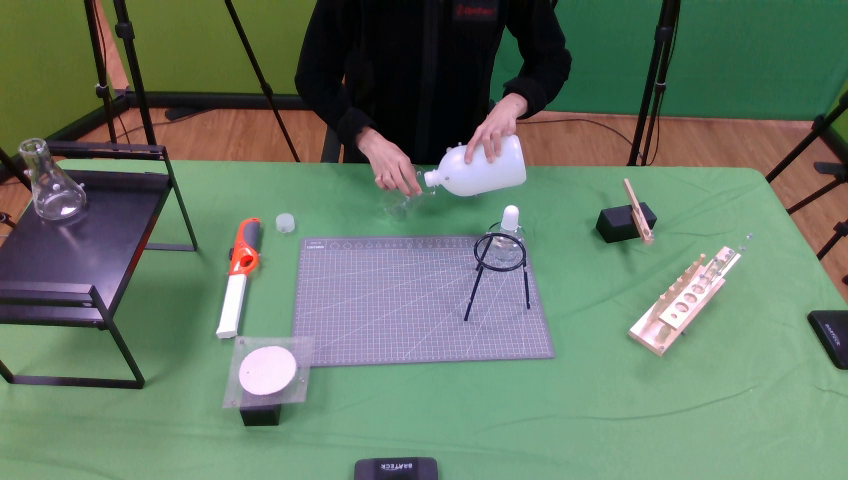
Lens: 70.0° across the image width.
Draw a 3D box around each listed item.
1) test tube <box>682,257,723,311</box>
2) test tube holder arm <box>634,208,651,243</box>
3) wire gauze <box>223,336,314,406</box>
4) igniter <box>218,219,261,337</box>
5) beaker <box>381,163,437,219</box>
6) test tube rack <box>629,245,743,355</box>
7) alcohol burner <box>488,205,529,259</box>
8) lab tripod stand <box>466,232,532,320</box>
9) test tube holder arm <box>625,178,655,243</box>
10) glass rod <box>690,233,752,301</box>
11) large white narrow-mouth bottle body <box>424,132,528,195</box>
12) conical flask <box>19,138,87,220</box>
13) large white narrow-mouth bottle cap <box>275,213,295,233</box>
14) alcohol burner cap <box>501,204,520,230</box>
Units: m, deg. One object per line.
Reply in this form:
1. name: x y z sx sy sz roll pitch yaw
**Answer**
1. test tube: 0.475 0.080 1.037 0.017 0.151 0.017 1 51 -1
2. test tube holder arm: 0.428 -0.030 1.189 0.010 0.015 0.087 1 47 -2
3. wire gauze: -0.237 0.197 0.931 0.121 0.011 0.124 1 45 -4
4. igniter: -0.336 0.060 1.111 0.057 0.025 0.274 -8 46 3
5. beaker: -0.032 -0.093 1.221 0.084 0.100 0.073 39 38 -12
6. test tube rack: 0.474 0.095 1.091 0.242 0.085 0.066 -34 56 -31
7. alcohol burner: 0.163 -0.020 1.158 0.078 0.120 0.077 0 47 0
8. lab tripod stand: 0.125 0.059 1.065 0.148 0.132 0.147 1 45 0
9. test tube holder arm: 0.433 -0.062 1.220 0.013 0.015 0.177 1 47 -3
10. glass rod: 0.507 0.053 1.041 0.008 0.200 0.008 5 51 -6
11. large white narrow-mouth bottle body: 0.096 -0.140 1.173 0.194 0.102 0.101 -12 46 8
12. conical flask: -0.576 -0.097 0.930 0.075 0.122 0.075 2 46 -2
13. large white narrow-mouth bottle cap: -0.277 -0.034 1.213 0.038 0.024 0.037 3 46 -3
14. alcohol burner cap: 0.164 -0.046 1.133 0.034 0.048 0.033 2 40 -1
